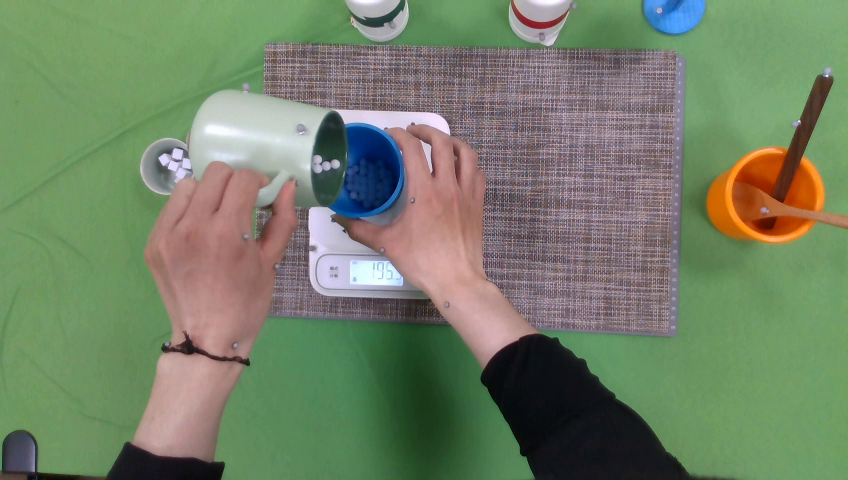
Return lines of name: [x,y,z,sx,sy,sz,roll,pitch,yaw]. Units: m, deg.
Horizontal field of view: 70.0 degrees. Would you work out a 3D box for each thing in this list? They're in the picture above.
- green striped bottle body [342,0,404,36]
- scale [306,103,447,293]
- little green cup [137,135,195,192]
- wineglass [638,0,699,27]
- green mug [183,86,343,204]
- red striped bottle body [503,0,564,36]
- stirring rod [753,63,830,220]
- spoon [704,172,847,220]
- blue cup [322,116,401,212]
green striped bottle body: [-0.057,-0.258,0.613,0.063,0.119,0.063,0,88,4]
scale: [-0.051,-0.045,0.647,0.148,0.031,0.200,1,89,4]
little green cup: [-0.273,-0.081,0.661,0.061,0.038,0.061,0,88,3]
wineglass: [0.256,-0.265,0.567,0.073,0.172,0.073,0,88,4]
green mug: [-0.133,-0.066,0.484,0.104,0.124,0.093,8,128,12]
red striped bottle body: [0.113,-0.254,0.603,0.063,0.120,0.063,0,88,3]
stirring rod: [0.341,-0.084,0.570,0.014,0.178,0.006,12,48,18]
spoon: [0.358,-0.032,0.568,0.022,0.192,0.041,11,98,-39]
blue cup: [-0.060,-0.067,0.583,0.092,0.100,0.092,0,90,3]
